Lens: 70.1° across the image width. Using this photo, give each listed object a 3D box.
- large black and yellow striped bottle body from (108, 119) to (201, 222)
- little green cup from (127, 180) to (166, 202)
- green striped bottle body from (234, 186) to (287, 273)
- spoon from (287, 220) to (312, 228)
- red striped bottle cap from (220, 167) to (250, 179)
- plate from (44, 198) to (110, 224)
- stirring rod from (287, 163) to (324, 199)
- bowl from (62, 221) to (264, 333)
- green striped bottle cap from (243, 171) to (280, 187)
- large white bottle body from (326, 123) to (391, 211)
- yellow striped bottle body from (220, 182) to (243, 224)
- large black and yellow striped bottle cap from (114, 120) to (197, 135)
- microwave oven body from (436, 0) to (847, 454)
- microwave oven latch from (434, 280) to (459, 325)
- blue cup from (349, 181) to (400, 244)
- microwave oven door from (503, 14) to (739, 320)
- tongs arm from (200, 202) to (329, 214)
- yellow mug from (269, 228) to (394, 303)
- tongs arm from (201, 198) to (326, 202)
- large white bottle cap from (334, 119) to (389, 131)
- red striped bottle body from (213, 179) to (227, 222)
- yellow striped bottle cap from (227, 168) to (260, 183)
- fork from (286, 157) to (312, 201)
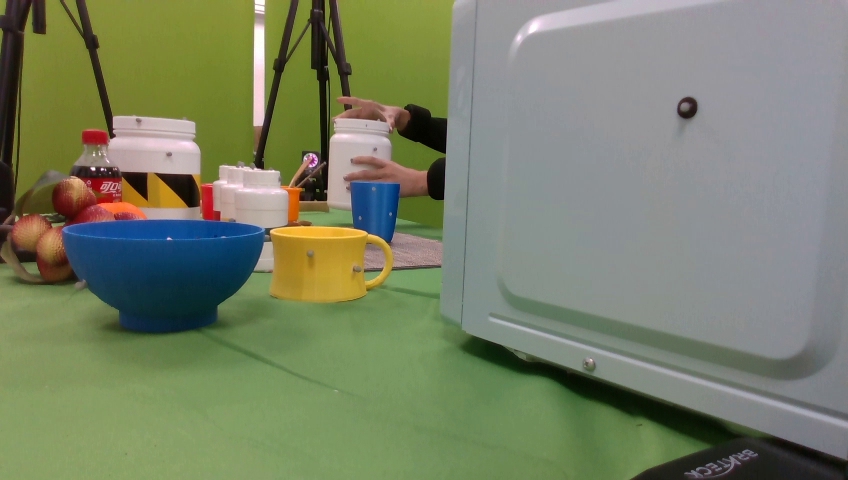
[{"bbox_3d":[-0.412,-0.088,0.930,0.131,0.184,0.130,3,7,0],"label":"large black and yellow striped bottle body"},{"bbox_3d":[-0.486,-0.086,1.061,0.061,0.038,0.061,1,7,0],"label":"little green cup"},{"bbox_3d":[-0.200,-0.023,0.743,0.063,0.119,0.063,2,7,0],"label":"green striped bottle body"},{"bbox_3d":[-0.232,-0.027,1.116,0.041,0.021,0.193,-22,6,4],"label":"spoon"},{"bbox_3d":[-0.281,-0.100,0.901,0.044,0.017,0.044,-1,5,0],"label":"red striped bottle cap"},{"bbox_3d":[-0.617,-0.056,1.179,0.209,0.038,0.209,3,7,0],"label":"plate"},{"bbox_3d":[-0.278,-0.105,1.293,0.176,0.006,0.014,-46,25,-18],"label":"stirring rod"},{"bbox_3d":[-0.209,0.029,0.496,0.151,0.077,0.151,2,7,0],"label":"bowl"},{"bbox_3d":[-0.198,-0.074,0.736,0.044,0.020,0.044,1,7,0],"label":"green striped bottle cap"},{"bbox_3d":[-0.137,-0.155,1.272,0.131,0.184,0.130,3,7,0],"label":"large white bottle body"},{"bbox_3d":[-0.246,-0.036,0.825,0.063,0.120,0.063,3,8,0],"label":"yellow striped bottle body"},{"bbox_3d":[-0.407,-0.171,0.920,0.115,0.019,0.115,2,9,0],"label":"large black and yellow striped bottle cap"},{"bbox_3d":[0.279,-0.040,0.465,0.444,0.260,0.324,-3,9,-41],"label":"microwave oven body"},{"bbox_3d":[0.044,0.045,0.470,0.079,0.029,0.030,-2,8,-39],"label":"microwave oven latch"},{"bbox_3d":[-0.083,-0.047,1.012,0.093,0.100,0.092,2,6,0],"label":"blue cup"},{"bbox_3d":[0.217,-0.065,0.601,0.358,0.243,0.039,-4,10,-41],"label":"microwave oven door"},{"bbox_3d":[-0.378,-0.079,1.440,0.387,0.026,0.050,-4,8,-44],"label":"tongs arm"},{"bbox_3d":[-0.094,0.023,0.629,0.131,0.064,0.099,0,6,-21],"label":"yellow mug"},{"bbox_3d":[-0.433,-0.090,1.508,0.390,0.028,0.028,-1,2,-29],"label":"tongs arm"},{"bbox_3d":[-0.131,-0.238,1.261,0.115,0.018,0.115,4,6,0],"label":"large white bottle cap"},{"bbox_3d":[-0.284,-0.048,0.910,0.063,0.119,0.063,3,12,0],"label":"red striped bottle body"},{"bbox_3d":[-0.243,-0.087,0.818,0.044,0.018,0.044,3,6,0],"label":"yellow striped bottle cap"},{"bbox_3d":[-0.289,-0.116,1.321,0.028,0.019,0.207,6,51,19],"label":"fork"}]
